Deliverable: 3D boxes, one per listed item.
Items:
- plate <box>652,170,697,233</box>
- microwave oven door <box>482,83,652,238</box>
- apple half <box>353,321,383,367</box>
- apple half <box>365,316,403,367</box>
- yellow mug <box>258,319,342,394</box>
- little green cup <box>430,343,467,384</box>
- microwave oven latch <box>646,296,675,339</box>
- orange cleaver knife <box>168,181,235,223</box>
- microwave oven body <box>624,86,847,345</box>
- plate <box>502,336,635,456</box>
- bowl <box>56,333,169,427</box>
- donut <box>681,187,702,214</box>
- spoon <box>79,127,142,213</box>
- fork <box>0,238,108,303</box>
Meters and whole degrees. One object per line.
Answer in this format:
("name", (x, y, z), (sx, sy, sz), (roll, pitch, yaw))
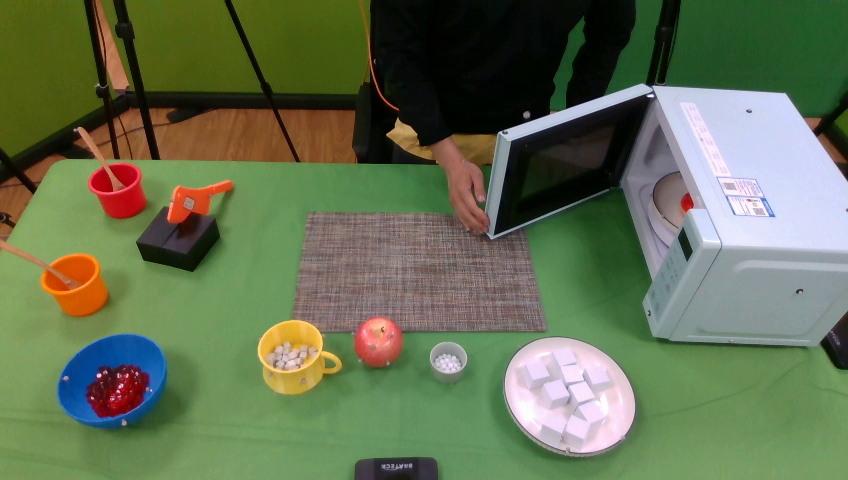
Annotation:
("plate", (0.555, -0.059, 1.196), (0.209, 0.038, 0.208), (2, 46, -2))
("microwave oven door", (0.281, -0.158, 1.192), (0.356, 0.245, 0.039), (-22, 51, -23))
("apple half", (-0.097, 0.177, 0.984), (0.033, 0.081, 0.081), (-17, 49, -25))
("apple half", (-0.063, 0.165, 1.000), (0.053, 0.075, 0.080), (-16, 45, -24))
("yellow mug", (-0.195, 0.188, 0.972), (0.131, 0.064, 0.099), (9, 47, 4))
("little green cup", (0.039, 0.203, 0.993), (0.061, 0.039, 0.061), (2, 46, -2))
("microwave oven latch", (0.412, 0.134, 1.061), (0.030, 0.029, 0.078), (3, 45, 0))
("orange cleaver knife", (-0.436, -0.078, 1.196), (0.012, 0.077, 0.211), (16, 15, 10))
("microwave oven body", (0.567, -0.053, 1.118), (0.326, 0.261, 0.439), (2, 45, -1))
("plate", (0.225, 0.248, 0.963), (0.208, 0.039, 0.206), (2, 46, -2))
("bowl", (-0.456, 0.223, 0.912), (0.151, 0.077, 0.150), (3, 46, -2))
("donut", (0.553, -0.066, 1.184), (0.099, 0.048, 0.098), (2, 48, -2))
("spoon", (-0.624, -0.139, 1.203), (0.041, 0.021, 0.194), (-33, 100, -26))
("fork", (-0.633, 0.048, 1.017), (0.208, 0.018, 0.028), (40, 41, -27))
